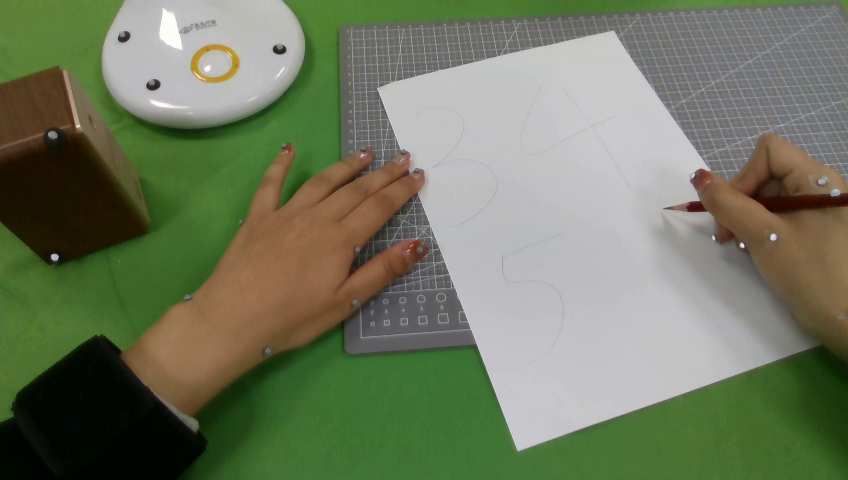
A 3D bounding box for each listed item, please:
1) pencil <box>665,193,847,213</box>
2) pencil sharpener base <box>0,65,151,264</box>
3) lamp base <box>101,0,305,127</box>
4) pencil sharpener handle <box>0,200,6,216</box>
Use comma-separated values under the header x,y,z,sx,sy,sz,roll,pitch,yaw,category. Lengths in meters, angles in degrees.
x,y,z,sx,sy,sz,roll,pitch,yaw,category
0.225,-0.022,0.348,0.012,0.193,0.012,-49,116,-25,pencil
-0.232,-0.042,0.379,0.077,0.108,0.061,-22,62,-12,pencil sharpener base
-0.185,-0.203,0.432,0.160,0.182,0.177,-32,62,-18,lamp base
-0.279,-0.030,0.357,0.031,0.068,0.035,-22,65,-12,pencil sharpener handle
